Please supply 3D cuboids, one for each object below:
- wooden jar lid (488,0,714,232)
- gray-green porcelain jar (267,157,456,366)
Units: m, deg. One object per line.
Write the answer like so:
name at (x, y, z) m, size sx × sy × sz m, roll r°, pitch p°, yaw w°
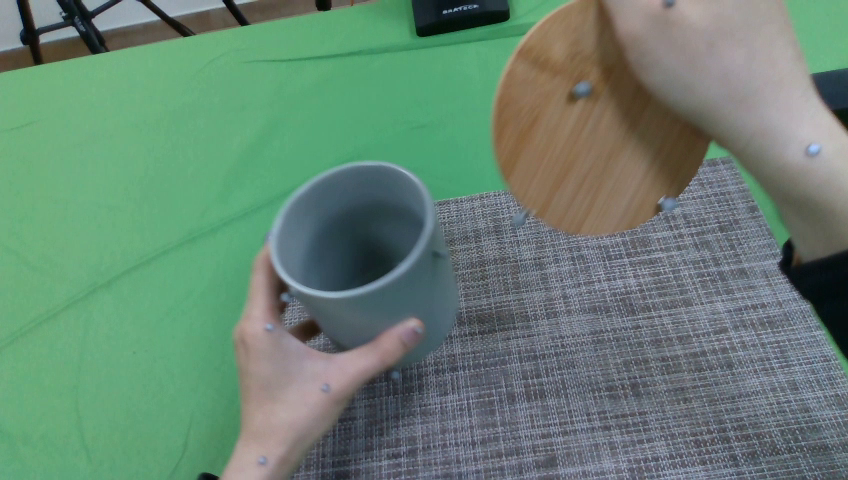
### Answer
wooden jar lid at (0.080, -0.058, 0.277) m, size 0.108 × 0.109 × 0.020 m, roll -21°, pitch 24°, yaw -6°
gray-green porcelain jar at (-0.035, 0.022, 0.424) m, size 0.106 × 0.128 × 0.105 m, roll -6°, pitch 56°, yaw 9°
